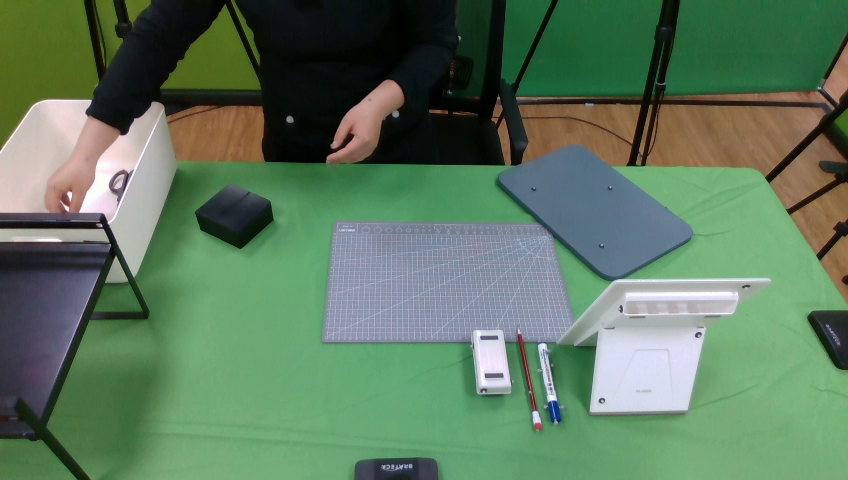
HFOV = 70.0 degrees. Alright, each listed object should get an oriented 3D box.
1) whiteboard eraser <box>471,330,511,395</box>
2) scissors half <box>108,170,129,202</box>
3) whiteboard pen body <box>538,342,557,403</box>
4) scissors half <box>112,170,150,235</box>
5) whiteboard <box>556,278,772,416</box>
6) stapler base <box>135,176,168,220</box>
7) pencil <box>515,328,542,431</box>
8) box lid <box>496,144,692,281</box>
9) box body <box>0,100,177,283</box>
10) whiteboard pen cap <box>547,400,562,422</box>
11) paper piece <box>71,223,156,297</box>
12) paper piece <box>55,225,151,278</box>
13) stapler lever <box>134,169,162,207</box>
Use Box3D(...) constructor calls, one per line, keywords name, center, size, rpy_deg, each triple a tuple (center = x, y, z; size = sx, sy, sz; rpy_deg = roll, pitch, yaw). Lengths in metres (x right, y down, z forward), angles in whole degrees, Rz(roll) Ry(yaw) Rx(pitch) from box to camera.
Box3D(name="whiteboard eraser", center=(0.110, 0.202, 0.998), size=(0.055, 0.042, 0.112), rpy_deg=(1, 46, -5))
Box3D(name="scissors half", center=(-0.617, -0.077, 1.224), size=(0.040, 0.013, 0.174), rpy_deg=(-14, 54, -9))
Box3D(name="whiteboard pen body", center=(0.205, 0.228, 0.997), size=(0.017, 0.017, 0.140), rpy_deg=(1, 46, -3))
Box3D(name="scissors half", center=(-0.596, -0.078, 1.226), size=(0.040, 0.013, 0.174), rpy_deg=(7, 52, 0))
Box3D(name="whiteboard", center=(0.347, 0.174, 0.903), size=(0.217, 0.306, 0.143), rpy_deg=(1, 65, -4))
Box3D(name="stapler base", center=(-0.558, -0.092, 1.237), size=(0.041, 0.024, 0.129), rpy_deg=(1, 42, -9))
Box3D(name="pencil", center=(0.169, 0.224, 1.002), size=(0.012, 0.012, 0.192), rpy_deg=(-1, 46, -6))
Box3D(name="box lid", center=(0.360, -0.073, 1.305), size=(0.263, 0.015, 0.369), rpy_deg=(-24, 52, -25))
Box3D(name="box body", center=(-0.639, -0.095, 1.140), size=(0.254, 0.161, 0.361), rpy_deg=(0, 46, -4))
Box3D(name="whiteboard pen cap", center=(0.205, 0.269, 0.956), size=(0.018, 0.018, 0.033), rpy_deg=(0, 47, -5))
Box3D(name="paper piece", center=(-0.598, 0.035, 1.141), size=(0.136, 0.009, 0.137), rpy_deg=(14, 52, -13))
Box3D(name="paper piece", center=(-0.595, 0.018, 1.129), size=(0.135, 0.004, 0.135), rpy_deg=(1, 46, -1))
Box3D(name="stapler lever", center=(-0.556, -0.112, 1.220), size=(0.027, 0.040, 0.117), rpy_deg=(1, 42, -9))
